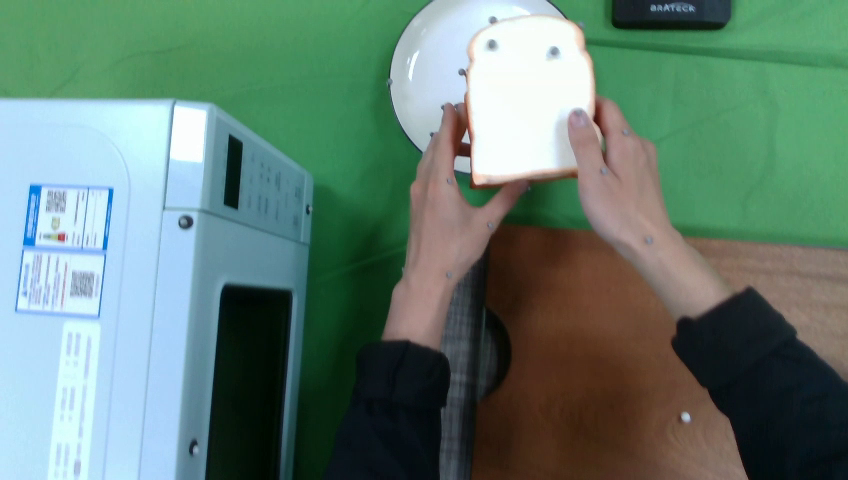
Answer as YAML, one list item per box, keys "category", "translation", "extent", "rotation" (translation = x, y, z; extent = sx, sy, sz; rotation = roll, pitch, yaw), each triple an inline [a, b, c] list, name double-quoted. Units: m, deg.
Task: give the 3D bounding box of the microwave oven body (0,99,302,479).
- category: "microwave oven body"
  translation: [-0.307, 0.121, 0.551]
  extent: [0.325, 0.261, 0.440]
  rotation: [2, 86, 7]

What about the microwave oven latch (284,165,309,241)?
- category: "microwave oven latch"
  translation: [-0.139, -0.039, 0.643]
  extent: [0.030, 0.029, 0.079]
  rotation: [3, 86, 7]

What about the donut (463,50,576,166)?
- category: "donut"
  translation: [0.083, -0.114, 0.528]
  extent: [0.099, 0.048, 0.099]
  rotation: [0, 94, 2]

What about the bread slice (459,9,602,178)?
- category: "bread slice"
  translation: [0.079, -0.121, 0.498]
  extent: [0.107, 0.018, 0.134]
  rotation: [-11, 86, 8]

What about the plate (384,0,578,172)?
- category: "plate"
  translation: [0.062, -0.171, 0.649]
  extent: [0.207, 0.039, 0.207]
  rotation: [-1, 85, 7]

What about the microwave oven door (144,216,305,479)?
- category: "microwave oven door"
  translation: [-0.166, 0.168, 0.525]
  extent: [0.039, 0.244, 0.355]
  rotation: [2, 85, 7]

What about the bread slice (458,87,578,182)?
- category: "bread slice"
  translation: [0.081, -0.123, 0.556]
  extent: [0.105, 0.019, 0.131]
  rotation: [-7, 90, 5]
